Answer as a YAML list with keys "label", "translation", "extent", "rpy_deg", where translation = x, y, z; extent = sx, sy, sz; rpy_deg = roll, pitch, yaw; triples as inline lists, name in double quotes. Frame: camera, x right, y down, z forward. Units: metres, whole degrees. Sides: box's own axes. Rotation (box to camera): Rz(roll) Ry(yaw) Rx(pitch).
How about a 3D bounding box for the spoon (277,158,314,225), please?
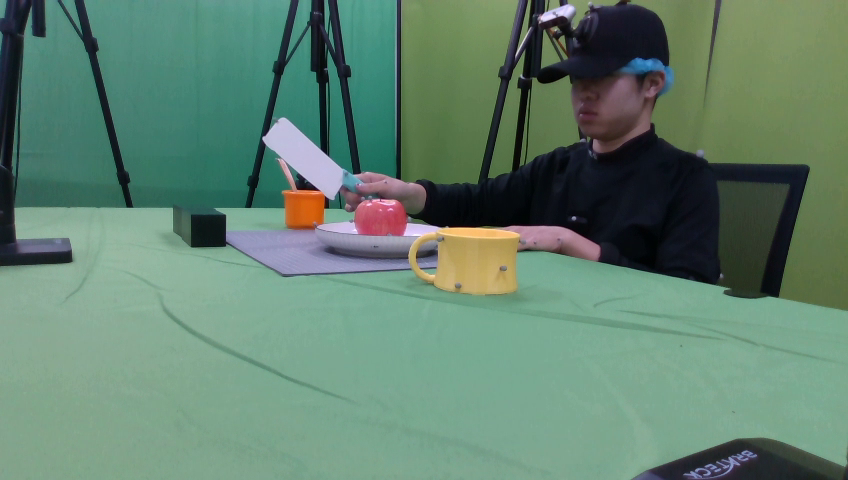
- label: "spoon"
  translation: [-0.272, -0.103, 1.260]
  extent: [0.042, 0.193, 0.021]
  rpy_deg: [-5, -34, -33]

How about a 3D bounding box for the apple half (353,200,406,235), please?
- label: "apple half"
  translation: [-0.064, -0.023, 0.909]
  extent: [0.081, 0.074, 0.053]
  rpy_deg: [3, 11, -17]

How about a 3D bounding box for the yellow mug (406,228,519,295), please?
- label: "yellow mug"
  translation: [0.044, 0.022, 0.707]
  extent: [0.131, 0.064, 0.100]
  rpy_deg: [2, 7, 5]

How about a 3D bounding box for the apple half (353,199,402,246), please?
- label: "apple half"
  translation: [-0.076, -0.029, 0.946]
  extent: [0.081, 0.081, 0.032]
  rpy_deg: [0, 12, -18]

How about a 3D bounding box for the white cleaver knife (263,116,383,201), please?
- label: "white cleaver knife"
  translation: [-0.166, -0.110, 1.068]
  extent: [0.021, 0.066, 0.288]
  rpy_deg: [10, -24, 50]

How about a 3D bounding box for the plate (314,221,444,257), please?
- label: "plate"
  translation: [-0.066, -0.002, 0.948]
  extent: [0.209, 0.038, 0.209]
  rpy_deg: [3, 7, 0]
